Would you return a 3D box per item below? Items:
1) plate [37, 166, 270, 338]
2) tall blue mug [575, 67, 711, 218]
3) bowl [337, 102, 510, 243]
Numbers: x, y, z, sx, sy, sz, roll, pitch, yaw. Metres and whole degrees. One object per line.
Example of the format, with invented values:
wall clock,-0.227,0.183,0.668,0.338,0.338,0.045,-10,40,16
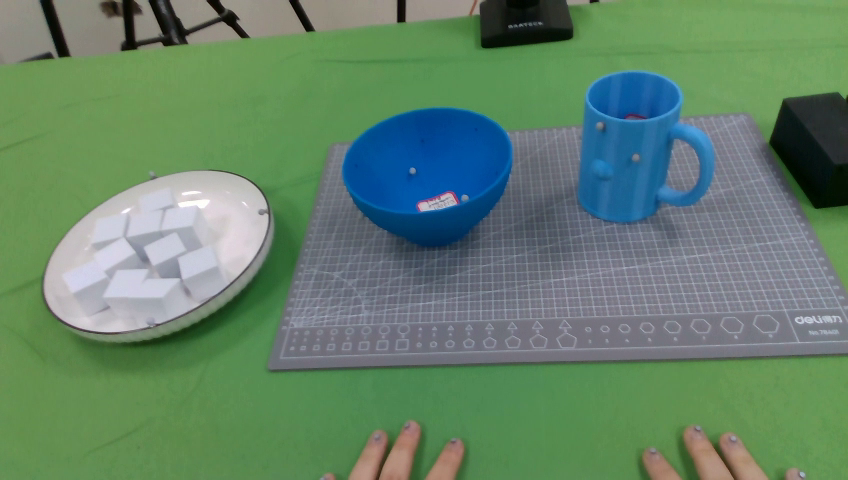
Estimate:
plate,-0.243,0.009,0.564,0.209,0.038,0.207,-4,46,5
tall blue mug,0.188,-0.081,0.526,0.107,0.109,0.077,6,47,15
bowl,0.004,-0.050,0.549,0.151,0.077,0.150,-5,45,5
